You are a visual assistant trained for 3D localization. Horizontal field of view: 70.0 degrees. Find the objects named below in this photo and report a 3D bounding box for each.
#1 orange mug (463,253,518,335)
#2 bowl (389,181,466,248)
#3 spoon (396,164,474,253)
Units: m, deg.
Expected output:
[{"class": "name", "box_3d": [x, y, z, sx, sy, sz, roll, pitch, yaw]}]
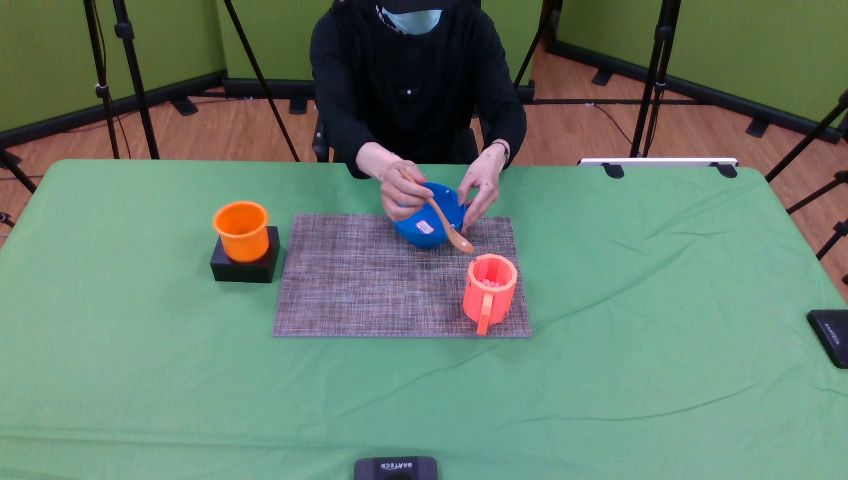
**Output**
[{"class": "orange mug", "box_3d": [0.112, 0.098, 1.050, 0.083, 0.101, 0.125, 10, 41, 6]}, {"class": "bowl", "box_3d": [0.005, -0.038, 1.188, 0.151, 0.077, 0.150, 2, 46, -2]}, {"class": "spoon", "box_3d": [0.019, -0.052, 0.996, 0.194, 0.021, 0.041, 53, 29, -14]}]
